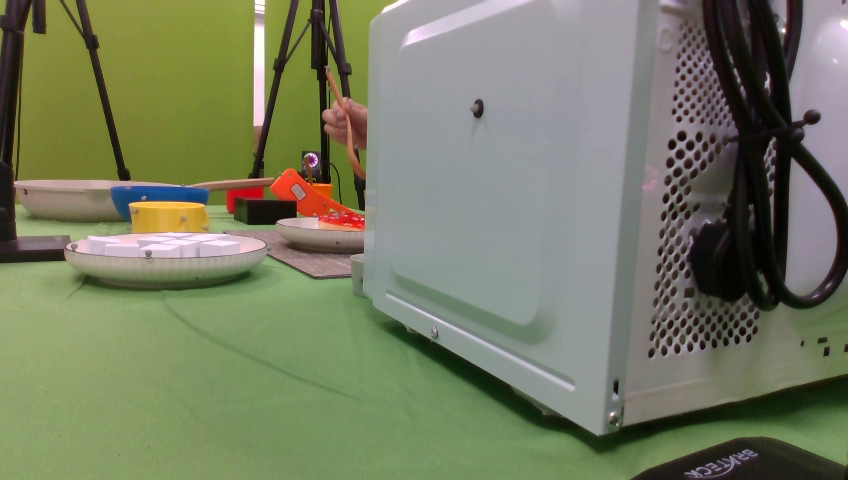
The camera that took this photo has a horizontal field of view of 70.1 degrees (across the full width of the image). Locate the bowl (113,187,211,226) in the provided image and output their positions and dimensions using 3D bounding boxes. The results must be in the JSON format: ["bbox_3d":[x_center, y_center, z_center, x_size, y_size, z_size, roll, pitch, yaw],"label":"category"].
[{"bbox_3d":[-0.437,-0.046,1.013,0.151,0.077,0.151,2,7,0],"label":"bowl"}]

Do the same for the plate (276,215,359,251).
[{"bbox_3d":[-0.126,-0.012,0.950,0.209,0.038,0.209,2,7,0],"label":"plate"}]

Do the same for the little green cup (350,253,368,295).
[{"bbox_3d":[-0.048,0.035,0.632,0.061,0.038,0.061,3,6,0],"label":"little green cup"}]

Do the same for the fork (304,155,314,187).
[{"bbox_3d":[-0.268,-0.134,1.446,0.028,0.018,0.207,1,-36,-1],"label":"fork"}]

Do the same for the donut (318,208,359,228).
[{"bbox_3d":[-0.118,-0.024,0.954,0.099,0.048,0.099,5,6,0],"label":"donut"}]

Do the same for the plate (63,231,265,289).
[{"bbox_3d":[-0.288,0.021,0.687,0.208,0.039,0.207,2,8,0],"label":"plate"}]

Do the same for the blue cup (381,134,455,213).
[{"bbox_3d":[-0.004,-0.100,0.955,0.092,0.100,0.092,-37,-4,-3],"label":"blue cup"}]

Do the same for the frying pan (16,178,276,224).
[{"bbox_3d":[-0.554,-0.097,1.266,0.490,0.102,0.305,-10,13,-24],"label":"frying pan"}]

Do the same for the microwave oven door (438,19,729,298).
[{"bbox_3d":[0.181,-0.076,0.618,0.358,0.243,0.039,-2,8,-28],"label":"microwave oven door"}]

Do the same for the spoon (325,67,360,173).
[{"bbox_3d":[-0.125,-0.189,0.961,0.022,0.193,0.041,-15,-11,-6],"label":"spoon"}]

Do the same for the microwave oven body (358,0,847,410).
[{"bbox_3d":[0.210,-0.051,0.471,0.444,0.260,0.324,-1,7,-28],"label":"microwave oven body"}]

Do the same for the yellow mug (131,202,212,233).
[{"bbox_3d":[-0.356,-0.020,0.878,0.099,0.064,0.131,5,7,21],"label":"yellow mug"}]

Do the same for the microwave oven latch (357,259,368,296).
[{"bbox_3d":[-0.019,0.031,0.528,0.079,0.029,0.030,-1,7,-25],"label":"microwave oven latch"}]

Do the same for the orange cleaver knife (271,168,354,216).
[{"bbox_3d":[-0.237,-0.084,1.332,0.212,0.077,0.012,31,-9,-31],"label":"orange cleaver knife"}]
